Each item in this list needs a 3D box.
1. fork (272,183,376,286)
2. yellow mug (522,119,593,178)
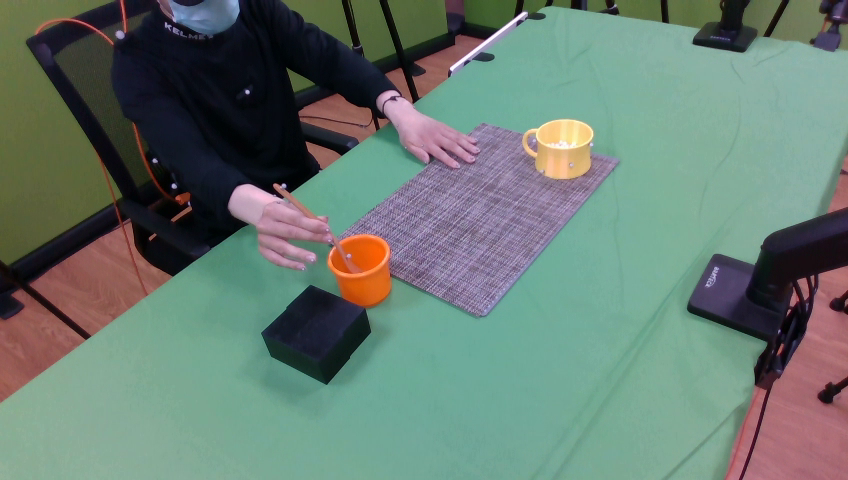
[{"bbox_3d":[-0.137,-0.004,0.847,0.018,0.208,0.028,-33,26,12],"label":"fork"},{"bbox_3d":[0.237,-0.170,1.092,0.130,0.064,0.100,17,47,27],"label":"yellow mug"}]
